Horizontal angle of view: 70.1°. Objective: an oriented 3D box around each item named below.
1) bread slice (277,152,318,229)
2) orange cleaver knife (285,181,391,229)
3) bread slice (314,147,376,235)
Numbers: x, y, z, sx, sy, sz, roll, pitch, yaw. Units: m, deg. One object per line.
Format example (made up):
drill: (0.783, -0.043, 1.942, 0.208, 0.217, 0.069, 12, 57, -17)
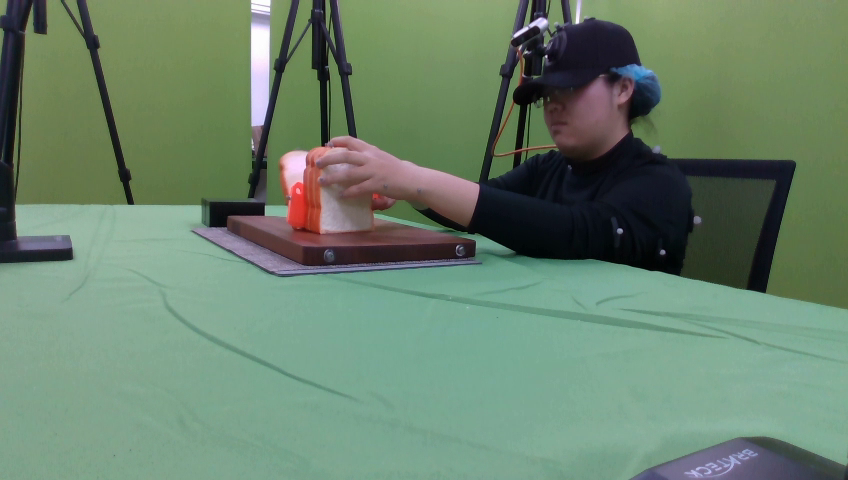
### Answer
bread slice: (-0.183, -0.079, 0.969, 0.019, 0.131, 0.105, -26, -13, 37)
orange cleaver knife: (-0.133, -0.057, 0.975, 0.012, 0.077, 0.212, -3, 3, 45)
bread slice: (-0.123, -0.074, 0.918, 0.107, 0.134, 0.018, -7, 5, -44)
